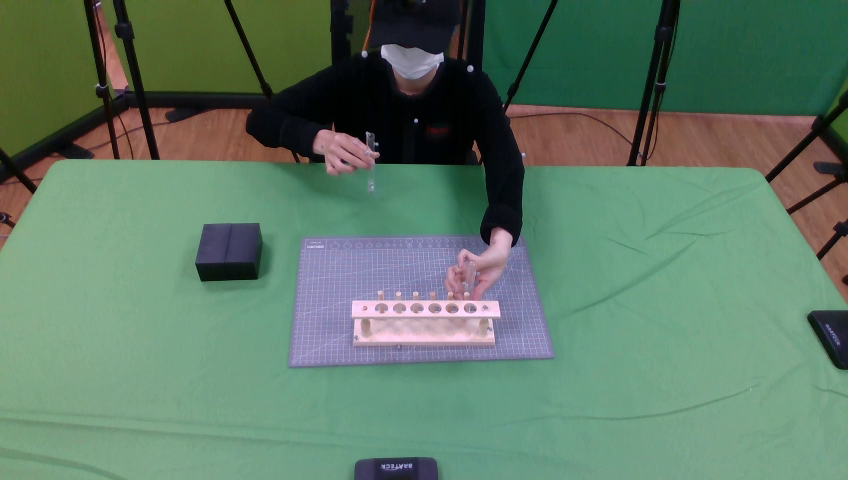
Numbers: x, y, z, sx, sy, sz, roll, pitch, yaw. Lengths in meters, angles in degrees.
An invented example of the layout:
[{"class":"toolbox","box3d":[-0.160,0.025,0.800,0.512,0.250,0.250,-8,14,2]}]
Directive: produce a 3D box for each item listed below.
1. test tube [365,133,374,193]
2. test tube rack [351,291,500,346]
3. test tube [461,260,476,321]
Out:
[{"class":"test tube","box3d":[-0.106,-0.147,1.183,0.017,0.151,0.017,2,50,-3]},{"class":"test tube rack","box3d":[0.000,0.129,1.026,0.242,0.085,0.066,1,46,-4]},{"class":"test tube","box3d":[0.073,0.086,1.010,0.017,0.151,0.017,2,46,-1]}]
